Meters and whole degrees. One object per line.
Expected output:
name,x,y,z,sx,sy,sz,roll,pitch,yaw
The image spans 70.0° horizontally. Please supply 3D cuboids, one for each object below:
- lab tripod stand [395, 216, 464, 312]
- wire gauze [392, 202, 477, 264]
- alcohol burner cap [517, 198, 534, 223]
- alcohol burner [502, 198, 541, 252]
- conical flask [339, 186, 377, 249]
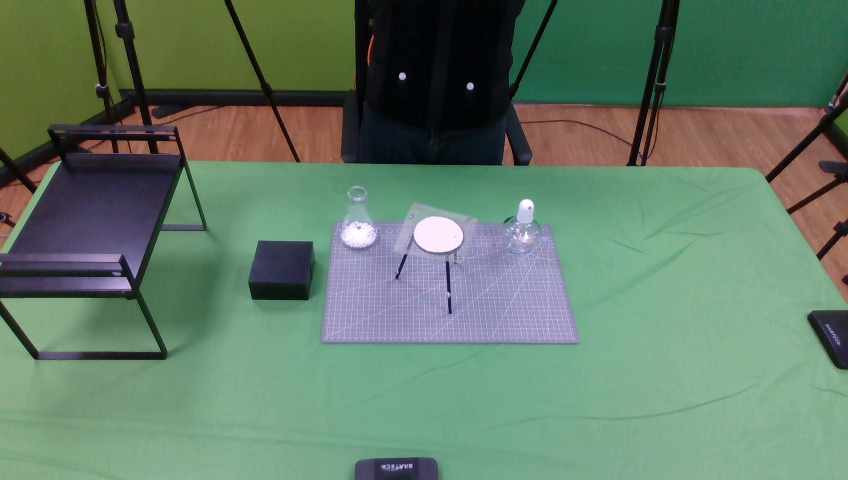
lab tripod stand,0.023,0.036,1.084,0.148,0.132,0.147,4,46,-4
wire gauze,0.020,-0.011,1.036,0.121,0.011,0.124,14,47,8
alcohol burner cap,0.194,-0.058,1.152,0.034,0.048,0.033,-1,50,1
alcohol burner,0.192,-0.033,1.178,0.078,0.119,0.077,2,44,-2
conical flask,-0.129,-0.047,1.160,0.075,0.122,0.075,2,46,-2
